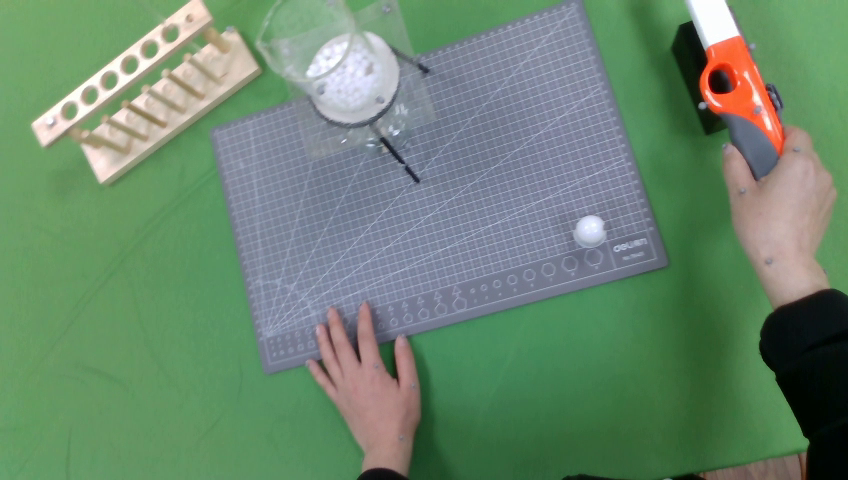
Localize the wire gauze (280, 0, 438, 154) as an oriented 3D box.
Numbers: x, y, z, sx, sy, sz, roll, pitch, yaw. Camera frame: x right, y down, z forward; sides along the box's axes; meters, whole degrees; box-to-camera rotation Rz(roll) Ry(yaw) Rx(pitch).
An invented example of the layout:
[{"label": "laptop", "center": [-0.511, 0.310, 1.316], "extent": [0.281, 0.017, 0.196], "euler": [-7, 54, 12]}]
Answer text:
[{"label": "wire gauze", "center": [-0.062, -0.150, 0.549], "extent": [0.125, 0.011, 0.121], "euler": [-17, 85, 8]}]

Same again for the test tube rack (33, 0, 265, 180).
[{"label": "test tube rack", "center": [-0.315, -0.171, 0.701], "extent": [0.242, 0.085, 0.066], "euler": [-33, 78, 7]}]

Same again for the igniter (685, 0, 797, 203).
[{"label": "igniter", "center": [0.265, -0.165, 0.533], "extent": [0.057, 0.025, 0.275], "euler": [-18, 78, 13]}]

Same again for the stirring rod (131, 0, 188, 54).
[{"label": "stirring rod", "center": [-0.292, -0.242, 0.623], "extent": [0.006, 0.177, 0.014], "euler": [-32, 72, 1]}]

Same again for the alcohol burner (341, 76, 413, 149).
[{"label": "alcohol burner", "center": [-0.053, -0.136, 0.624], "extent": [0.078, 0.119, 0.077], "euler": [-1, 83, 11]}]

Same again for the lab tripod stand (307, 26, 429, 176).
[{"label": "lab tripod stand", "center": [-0.048, -0.143, 0.613], "extent": [0.148, 0.132, 0.148], "euler": [-1, 85, 10]}]

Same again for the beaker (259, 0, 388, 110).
[{"label": "beaker", "center": [-0.078, -0.155, 0.504], "extent": [0.084, 0.100, 0.074], "euler": [-3, 84, 12]}]

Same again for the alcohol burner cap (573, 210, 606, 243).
[{"label": "alcohol burner cap", "center": [0.166, -0.015, 0.602], "extent": [0.034, 0.048, 0.034], "euler": [-1, 83, 12]}]
